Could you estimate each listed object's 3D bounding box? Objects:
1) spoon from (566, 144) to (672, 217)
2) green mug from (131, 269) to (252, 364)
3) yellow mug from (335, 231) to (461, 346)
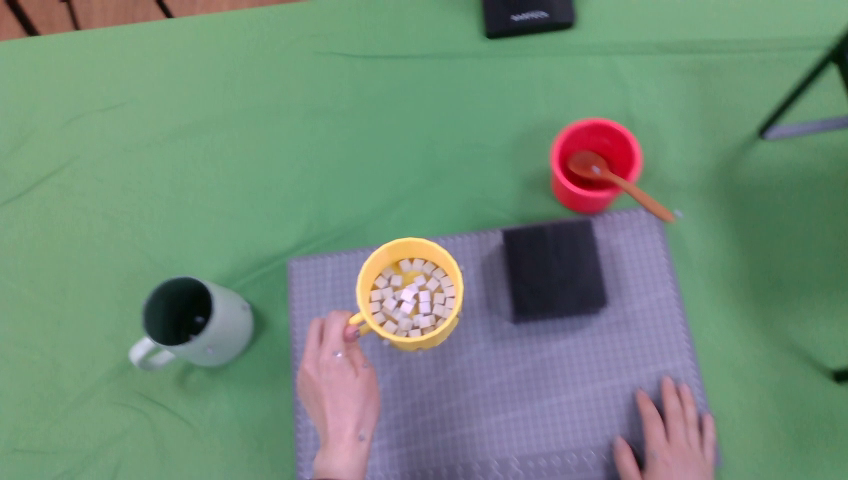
[{"bbox_3d":[0.208,-0.068,0.661,0.041,0.192,0.022,-21,117,-4],"label":"spoon"},{"bbox_3d":[-0.262,0.093,0.670,0.125,0.105,0.092,-39,74,-8],"label":"green mug"},{"bbox_3d":[-0.027,0.056,0.585,0.131,0.064,0.099,-30,75,-7],"label":"yellow mug"}]
